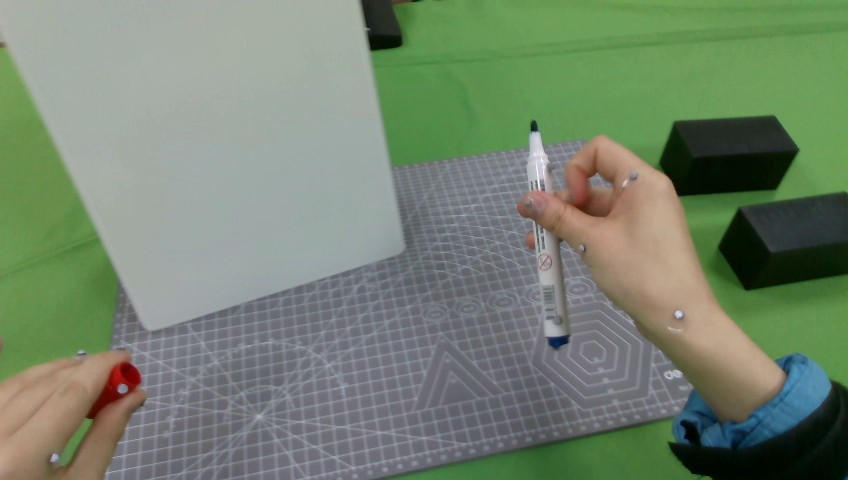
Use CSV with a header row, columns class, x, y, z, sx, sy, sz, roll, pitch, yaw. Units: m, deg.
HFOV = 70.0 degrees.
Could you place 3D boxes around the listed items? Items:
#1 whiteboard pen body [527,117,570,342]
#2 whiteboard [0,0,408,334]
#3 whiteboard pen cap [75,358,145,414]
class,x,y,z,sx,sy,sz,roll,pitch,yaw
whiteboard pen body,0.076,-0.007,0.377,0.017,0.017,0.140,-6,89,-5
whiteboard,-0.156,-0.118,0.471,0.217,0.308,0.142,-17,32,-13
whiteboard pen cap,-0.165,0.077,0.320,0.032,0.017,0.017,-33,54,3
